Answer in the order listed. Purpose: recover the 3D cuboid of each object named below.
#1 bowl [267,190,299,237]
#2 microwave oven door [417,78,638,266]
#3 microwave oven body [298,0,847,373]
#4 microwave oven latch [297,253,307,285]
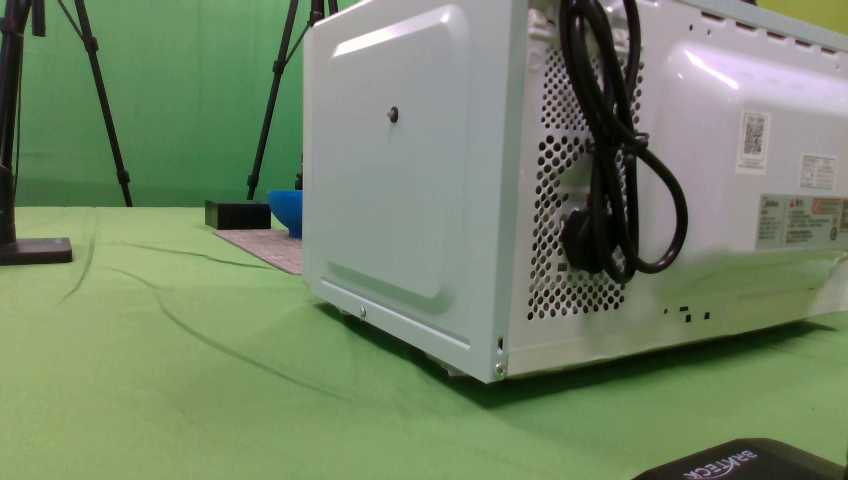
[{"bbox_3d":[-0.202,-0.046,1.070,0.151,0.077,0.151,3,7,0],"label":"bowl"},{"bbox_3d":[0.132,-0.105,0.893,0.354,0.243,0.039,9,10,43],"label":"microwave oven door"},{"bbox_3d":[0.151,-0.055,0.543,0.444,0.260,0.324,-1,7,-33],"label":"microwave oven body"},{"bbox_3d":[-0.082,0.027,0.583,0.079,0.029,0.030,-1,7,-33],"label":"microwave oven latch"}]
